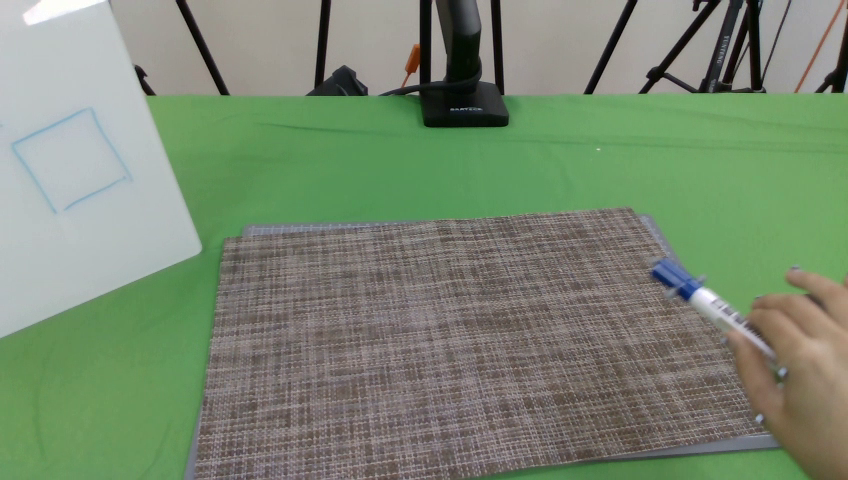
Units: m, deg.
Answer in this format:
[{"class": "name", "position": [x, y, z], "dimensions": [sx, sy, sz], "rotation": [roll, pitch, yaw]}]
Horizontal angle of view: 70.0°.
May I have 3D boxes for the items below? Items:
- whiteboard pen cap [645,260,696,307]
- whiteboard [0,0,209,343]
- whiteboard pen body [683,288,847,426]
[{"class": "whiteboard pen cap", "position": [0.170, 0.029, 0.415], "dimensions": [0.018, 0.018, 0.033], "rotation": [-28, 54, -32]}, {"class": "whiteboard", "position": [-0.368, -0.095, 0.544], "dimensions": [0.217, 0.307, 0.142], "rotation": [-27, 28, -31]}, {"class": "whiteboard pen body", "position": [0.210, 0.065, 0.386], "dimensions": [0.017, 0.017, 0.139], "rotation": [-27, 54, -31]}]
